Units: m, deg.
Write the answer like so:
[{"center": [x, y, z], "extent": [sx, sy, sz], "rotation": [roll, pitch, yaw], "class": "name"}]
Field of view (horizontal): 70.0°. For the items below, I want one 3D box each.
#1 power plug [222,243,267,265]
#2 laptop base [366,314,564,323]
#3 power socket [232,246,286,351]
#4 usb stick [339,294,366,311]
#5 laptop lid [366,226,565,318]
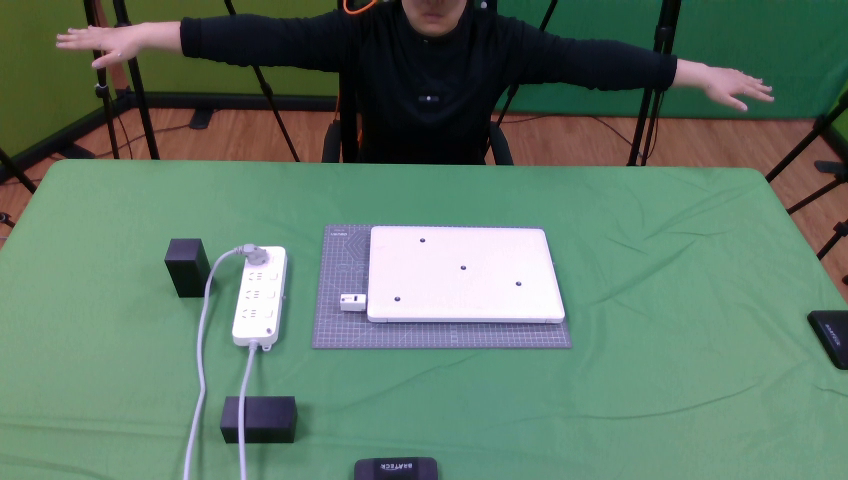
[{"center": [-0.325, 0.027, 1.112], "extent": [0.072, 0.053, 0.035], "rotation": [6, 46, 5], "class": "power plug"}, {"center": [0.071, 0.064, 1.144], "extent": [0.355, 0.023, 0.234], "rotation": [1, 43, -4], "class": "laptop base"}, {"center": [-0.290, 0.095, 1.077], "extent": [0.072, 0.033, 0.225], "rotation": [-2, 46, -4], "class": "power socket"}, {"center": [-0.119, 0.110, 1.068], "extent": [0.059, 0.027, 0.021], "rotation": [4, 47, -5], "class": "usb stick"}, {"center": [0.072, 0.054, 1.137], "extent": [0.357, 0.013, 0.240], "rotation": [2, 44, -3], "class": "laptop lid"}]
